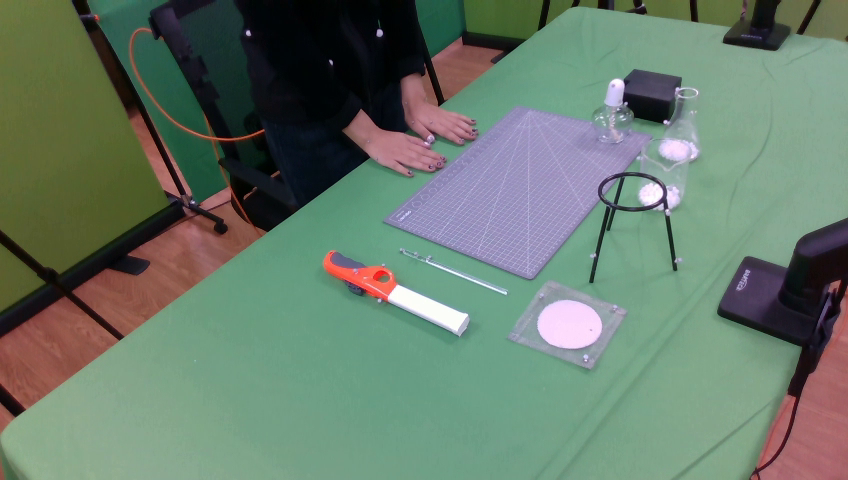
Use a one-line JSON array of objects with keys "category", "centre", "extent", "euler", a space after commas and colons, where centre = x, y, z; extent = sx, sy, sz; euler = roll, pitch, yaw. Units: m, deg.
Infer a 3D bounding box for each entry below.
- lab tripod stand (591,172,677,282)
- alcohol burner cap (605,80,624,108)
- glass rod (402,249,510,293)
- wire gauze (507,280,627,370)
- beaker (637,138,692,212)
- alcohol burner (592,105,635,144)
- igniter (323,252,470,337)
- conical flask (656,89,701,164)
[{"category": "lab tripod stand", "centre": [0.292, -0.022, 0.867], "extent": [0.148, 0.132, 0.147], "euler": [-7, 39, 6]}, {"category": "alcohol burner cap", "centre": [0.350, -0.269, 1.102], "extent": [0.034, 0.048, 0.033], "euler": [-2, 45, 3]}, {"category": "glass rod", "centre": [0.045, 0.046, 0.932], "extent": [0.198, 0.008, 0.008], "euler": [20, 49, 31]}, {"category": "wire gauze", "centre": [0.196, 0.114, 0.823], "extent": [0.120, 0.011, 0.125], "euler": [20, 50, 31]}, {"category": "beaker", "centre": [0.383, -0.100, 0.970], "extent": [0.074, 0.101, 0.084], "euler": [2, 42, 14]}, {"category": "alcohol burner", "centre": [0.353, -0.242, 1.126], "extent": [0.078, 0.119, 0.077], "euler": [-5, 38, 5]}, {"category": "igniter", "centre": [-0.052, 0.075, 0.901], "extent": [0.274, 0.025, 0.057], "euler": [22, 60, 32]}, {"category": "conical flask", "centre": [0.452, -0.201, 1.057], "extent": [0.075, 0.122, 0.075], "euler": [-6, 40, 5]}]
